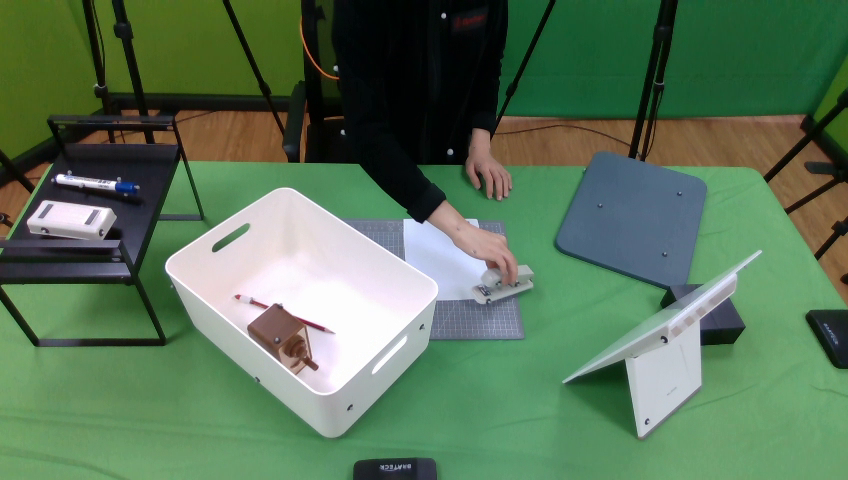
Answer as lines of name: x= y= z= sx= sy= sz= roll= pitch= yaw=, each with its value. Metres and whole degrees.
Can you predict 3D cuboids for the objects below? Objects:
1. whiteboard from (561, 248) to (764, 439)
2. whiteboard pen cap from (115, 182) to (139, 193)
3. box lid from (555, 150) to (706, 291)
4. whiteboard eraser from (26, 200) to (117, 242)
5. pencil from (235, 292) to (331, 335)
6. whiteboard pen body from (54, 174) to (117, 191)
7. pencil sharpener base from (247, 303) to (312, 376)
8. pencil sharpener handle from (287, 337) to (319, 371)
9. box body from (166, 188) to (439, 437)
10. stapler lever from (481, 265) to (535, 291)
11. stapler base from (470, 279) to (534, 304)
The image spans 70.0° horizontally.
whiteboard: x=0.386 y=0.176 z=0.905 sx=0.217 sy=0.306 sz=0.143 roll=-26 pitch=72 yaw=-27
whiteboard pen cap: x=-0.483 y=-0.086 z=0.984 sx=0.033 sy=0.018 sz=0.018 roll=6 pitch=46 yaw=10
box lid: x=0.451 y=-0.059 z=1.297 sx=0.263 sy=0.015 sz=0.370 roll=20 pitch=49 yaw=14
whiteboard eraser: x=-0.532 y=-0.026 z=0.919 sx=0.113 sy=0.042 sz=0.055 roll=7 pitch=45 yaw=3
pencil: x=-0.244 y=0.130 z=1.054 sx=0.194 sy=0.012 sz=0.012 roll=21 pitch=49 yaw=11
whiteboard pen body: x=-0.541 y=-0.093 z=0.993 sx=0.140 sy=0.017 sz=0.017 roll=7 pitch=46 yaw=8
pencil sharpener base: x=-0.224 y=0.165 z=0.955 sx=0.076 sy=0.107 sz=0.061 roll=32 pitch=54 yaw=23
pencil sharpener handle: x=-0.182 y=0.178 z=0.928 sx=0.030 sy=0.068 sz=0.036 roll=32 pitch=68 yaw=23
box body: x=-0.190 y=0.108 z=0.980 sx=0.362 sy=0.161 sz=0.254 roll=32 pitch=52 yaw=24
stapler lever: x=0.153 y=0.063 z=1.091 sx=0.118 sy=0.040 sz=0.026 roll=-14 pitch=54 yaw=-32
stapler base: x=0.146 y=0.081 z=1.107 sx=0.131 sy=0.024 sz=0.041 roll=-14 pitch=54 yaw=-32
